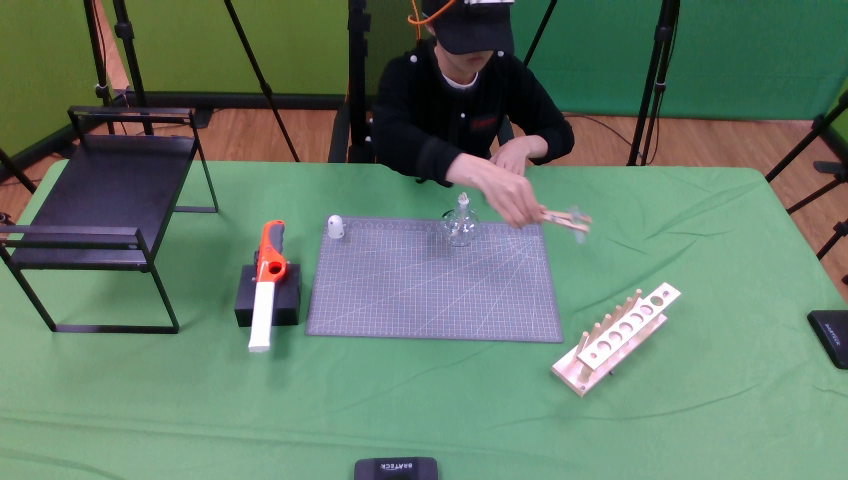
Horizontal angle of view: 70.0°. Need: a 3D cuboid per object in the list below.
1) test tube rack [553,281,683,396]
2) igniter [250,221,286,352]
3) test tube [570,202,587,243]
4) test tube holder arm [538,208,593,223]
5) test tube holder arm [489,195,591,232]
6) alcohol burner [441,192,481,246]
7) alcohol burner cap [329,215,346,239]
[{"bbox_3d":[0.329,0.153,1.023,0.242,0.085,0.066,-30,54,-28],"label":"test tube rack"},{"bbox_3d":[-0.269,0.068,1.041,0.057,0.025,0.274,0,48,-7],"label":"igniter"},{"bbox_3d":[0.246,-0.025,0.958,0.017,0.151,0.017,-6,69,17],"label":"test tube"},{"bbox_3d":[0.222,-0.039,0.956,0.087,0.015,0.010,10,77,29],"label":"test tube holder arm"},{"bbox_3d":[0.183,-0.045,0.977,0.177,0.015,0.013,19,81,30],"label":"test tube holder arm"},{"bbox_3d":[0.073,-0.046,1.175,0.078,0.119,0.077,2,44,-2],"label":"alcohol burner"},{"bbox_3d":[-0.172,-0.028,1.192,0.034,0.048,0.033,1,47,-1],"label":"alcohol burner cap"}]
